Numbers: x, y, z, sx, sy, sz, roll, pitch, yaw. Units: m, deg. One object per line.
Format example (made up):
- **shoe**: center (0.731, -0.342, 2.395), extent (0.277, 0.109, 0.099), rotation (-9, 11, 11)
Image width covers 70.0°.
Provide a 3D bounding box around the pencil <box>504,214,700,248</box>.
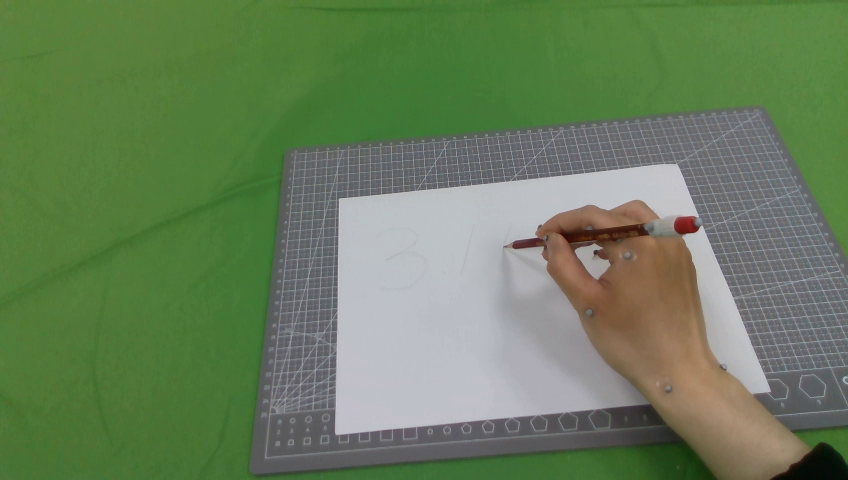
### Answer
- **pencil**: center (0.103, -0.002, 0.401), extent (0.012, 0.193, 0.012), rotation (2, 85, -23)
